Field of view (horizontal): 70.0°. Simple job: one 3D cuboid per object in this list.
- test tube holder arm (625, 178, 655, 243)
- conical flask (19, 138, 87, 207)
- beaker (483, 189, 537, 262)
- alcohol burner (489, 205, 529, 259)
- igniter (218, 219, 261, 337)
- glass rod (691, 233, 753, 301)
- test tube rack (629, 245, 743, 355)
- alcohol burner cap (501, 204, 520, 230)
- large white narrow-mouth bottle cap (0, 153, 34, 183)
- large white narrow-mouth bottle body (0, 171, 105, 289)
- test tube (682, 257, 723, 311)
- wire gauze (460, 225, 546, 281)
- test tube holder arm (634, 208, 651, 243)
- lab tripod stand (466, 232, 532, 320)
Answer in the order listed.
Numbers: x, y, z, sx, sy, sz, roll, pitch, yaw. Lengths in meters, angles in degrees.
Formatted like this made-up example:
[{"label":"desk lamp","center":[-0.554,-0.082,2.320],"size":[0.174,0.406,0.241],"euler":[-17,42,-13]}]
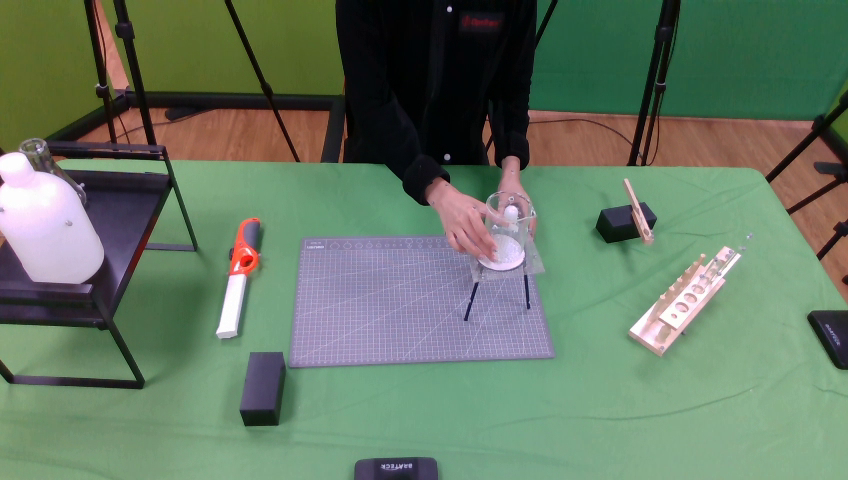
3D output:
[{"label":"test tube holder arm","center":[0.433,-0.062,1.220],"size":[0.013,0.015,0.177],"euler":[0,47,-3]},{"label":"conical flask","center":[-0.576,-0.097,0.930],"size":[0.075,0.122,0.075],"euler":[2,46,-2]},{"label":"beaker","center":[0.136,-0.020,0.983],"size":[0.084,0.101,0.073],"euler":[16,46,14]},{"label":"alcohol burner","center":[0.163,-0.020,1.158],"size":[0.078,0.120,0.077],"euler":[1,47,0]},{"label":"igniter","center":[-0.336,0.060,1.111],"size":[0.057,0.025,0.274],"euler":[-8,46,4]},{"label":"glass rod","center":[0.508,0.053,1.041],"size":[0.008,0.200,0.008],"euler":[5,50,-6]},{"label":"test tube rack","center":[0.474,0.095,1.091],"size":[0.242,0.085,0.066],"euler":[-34,56,-31]},{"label":"alcohol burner cap","center":[0.164,-0.046,1.133],"size":[0.034,0.048,0.033],"euler":[2,40,-2]},{"label":"large white narrow-mouth bottle cap","center":[-0.510,-0.090,0.754],"size":[0.038,0.024,0.037],"euler":[2,46,-2]},{"label":"large white narrow-mouth bottle body","center":[-0.513,-0.029,0.818],"size":[0.102,0.195,0.101],"euler":[2,46,-2]},{"label":"test tube","center":[0.475,0.080,1.037],"size":[0.017,0.151,0.017],"euler":[1,51,-1]},{"label":"wire gauze","center":[0.131,0.017,1.015],"size":[0.121,0.011,0.124],"euler":[-4,43,-9]},{"label":"test tube holder arm","center":[0.428,-0.030,1.189],"size":[0.010,0.015,0.087],"euler":[1,47,-2]},{"label":"lab tripod stand","center":[0.125,0.059,1.065],"size":[0.148,0.132,0.147],"euler":[1,45,0]}]
